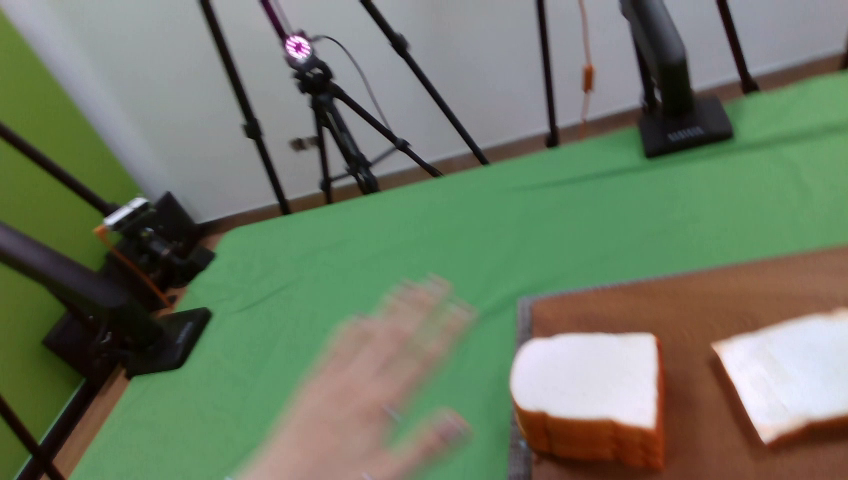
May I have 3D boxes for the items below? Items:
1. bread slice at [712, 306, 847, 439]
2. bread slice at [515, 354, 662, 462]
[{"bbox_3d":[0.325,0.106,0.505,0.131,0.019,0.104,-22,32,16],"label":"bread slice"},{"bbox_3d":[0.152,0.147,0.565,0.133,0.018,0.106,-1,39,26],"label":"bread slice"}]
